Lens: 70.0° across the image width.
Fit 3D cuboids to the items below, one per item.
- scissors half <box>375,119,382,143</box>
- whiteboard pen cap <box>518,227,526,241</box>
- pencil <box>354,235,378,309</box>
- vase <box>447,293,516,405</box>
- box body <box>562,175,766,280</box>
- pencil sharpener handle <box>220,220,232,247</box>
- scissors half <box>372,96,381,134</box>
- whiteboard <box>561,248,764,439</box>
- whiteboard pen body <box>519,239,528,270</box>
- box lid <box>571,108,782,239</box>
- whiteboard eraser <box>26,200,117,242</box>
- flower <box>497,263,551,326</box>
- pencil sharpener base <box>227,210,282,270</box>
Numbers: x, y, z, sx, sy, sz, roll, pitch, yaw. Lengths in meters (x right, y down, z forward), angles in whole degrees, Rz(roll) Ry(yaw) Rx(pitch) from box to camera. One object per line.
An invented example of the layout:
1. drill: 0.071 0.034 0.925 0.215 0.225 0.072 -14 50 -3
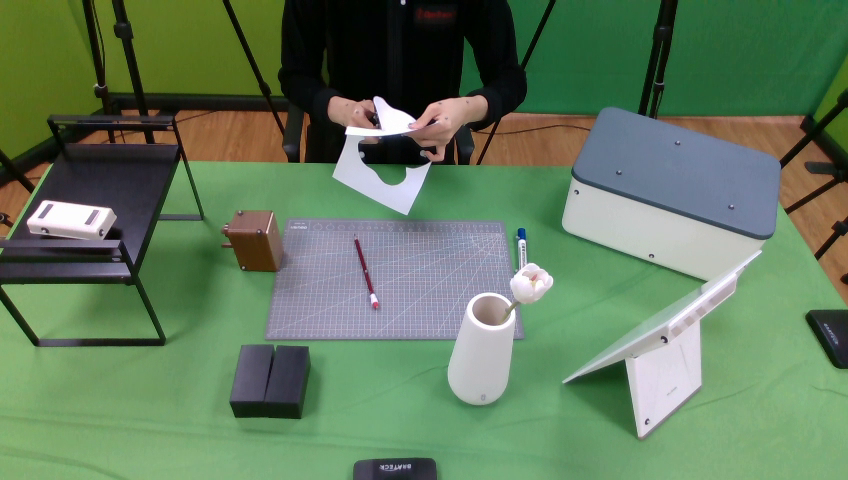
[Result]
1. scissors half: -0.078 -0.192 1.050 0.013 0.040 0.175 -5 6 -4
2. whiteboard pen cap: 0.197 -0.009 1.220 0.018 0.018 0.033 5 51 1
3. pencil: -0.112 0.055 1.143 0.012 0.012 0.192 -10 46 -13
4. vase: 0.091 0.168 0.921 0.098 0.201 0.097 3 47 -3
5. box body: 0.486 -0.088 1.222 0.363 0.161 0.253 20 48 15
6. pencil sharpener handle: -0.362 -0.009 1.105 0.030 0.068 0.036 1 52 1
7. scissors half: -0.080 -0.212 1.043 0.013 0.040 0.174 -10 31 -2
8. whiteboard: 0.386 0.176 0.905 0.217 0.306 0.143 -26 72 -27
9. whiteboard pen body: 0.193 0.035 1.181 0.017 0.017 0.140 6 48 1
10. box lid: 0.491 -0.139 1.168 0.370 0.015 0.262 21 49 15
11. whiteboard eraser: -0.532 -0.026 0.919 0.113 0.042 0.055 7 45 3
12. flower: 0.102 0.121 0.853 0.044 0.363 0.038 -2 64 -10
13. pencil sharpener base: -0.311 0.001 1.112 0.077 0.107 0.061 1 47 1
